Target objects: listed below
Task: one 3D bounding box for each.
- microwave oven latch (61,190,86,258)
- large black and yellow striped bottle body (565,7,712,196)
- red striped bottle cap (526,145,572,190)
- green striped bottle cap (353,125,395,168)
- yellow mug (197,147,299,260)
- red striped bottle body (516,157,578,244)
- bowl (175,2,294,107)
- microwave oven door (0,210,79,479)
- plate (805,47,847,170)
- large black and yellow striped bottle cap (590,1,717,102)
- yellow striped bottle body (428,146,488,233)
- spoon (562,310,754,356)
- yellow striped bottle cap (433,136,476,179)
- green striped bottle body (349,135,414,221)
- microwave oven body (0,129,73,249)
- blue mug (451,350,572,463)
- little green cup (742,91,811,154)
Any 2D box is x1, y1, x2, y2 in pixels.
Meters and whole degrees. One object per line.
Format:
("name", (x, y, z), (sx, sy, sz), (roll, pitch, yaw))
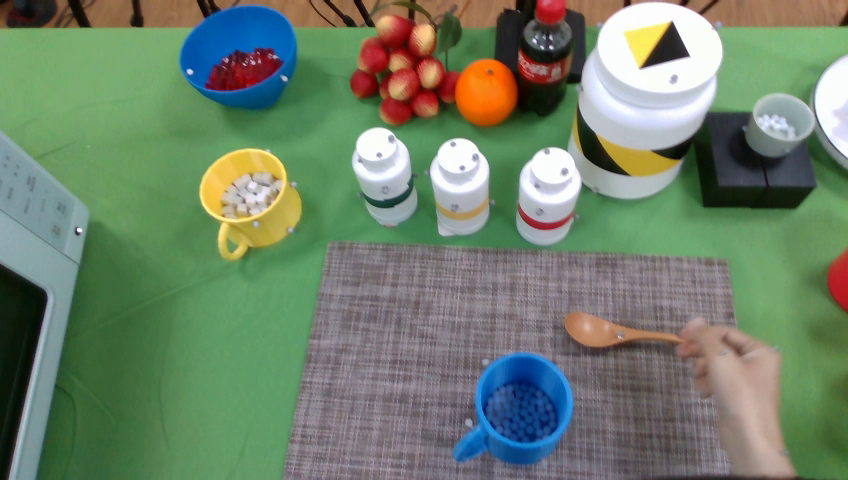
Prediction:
("microwave oven latch", (-0.423, -0.018, 0.715), (0.030, 0.030, 0.078), (-4, 64, 3))
("large black and yellow striped bottle body", (0.227, -0.146, 0.655), (0.131, 0.185, 0.129), (-2, 63, 5))
("red striped bottle cap", (0.125, -0.073, 0.606), (0.044, 0.018, 0.044), (0, 62, 1))
("green striped bottle cap", (-0.053, -0.098, 0.636), (0.044, 0.020, 0.044), (-2, 62, 4))
("yellow mug", (-0.210, -0.038, 0.709), (0.099, 0.064, 0.130), (11, 66, 11))
("red striped bottle body", (0.131, -0.049, 0.652), (0.063, 0.121, 0.062), (-3, 62, 7))
("bowl", (-0.237, -0.230, 0.800), (0.151, 0.077, 0.150), (-2, 64, 4))
("microwave oven door", (-0.419, 0.132, 0.527), (0.039, 0.246, 0.352), (-6, 63, 3))
("plate", (0.550, -0.141, 0.704), (0.209, 0.038, 0.207), (-2, 64, 4))
("large black and yellow striped bottle cap", (0.219, -0.182, 0.579), (0.115, 0.019, 0.114), (-2, 62, 5))
("yellow striped bottle body", (0.038, -0.062, 0.667), (0.063, 0.121, 0.062), (-3, 63, 5))
("spoon", (0.238, 0.099, 0.619), (0.193, 0.022, 0.041), (6, 43, 8))
("yellow striped bottle cap", (0.032, -0.085, 0.621), (0.044, 0.019, 0.044), (0, 61, 0))
("green striped bottle body", (-0.047, -0.075, 0.682), (0.063, 0.120, 0.062), (-2, 63, 4))
("microwave oven body", (-0.566, 0.112, 0.557), (0.326, 0.262, 0.438), (-6, 64, 2))
("blue mug", (0.074, 0.165, 0.556), (0.116, 0.107, 0.081), (-32, 64, -10))
("little green cup", (0.377, -0.125, 0.655), (0.061, 0.039, 0.061), (-1, 62, 3))
